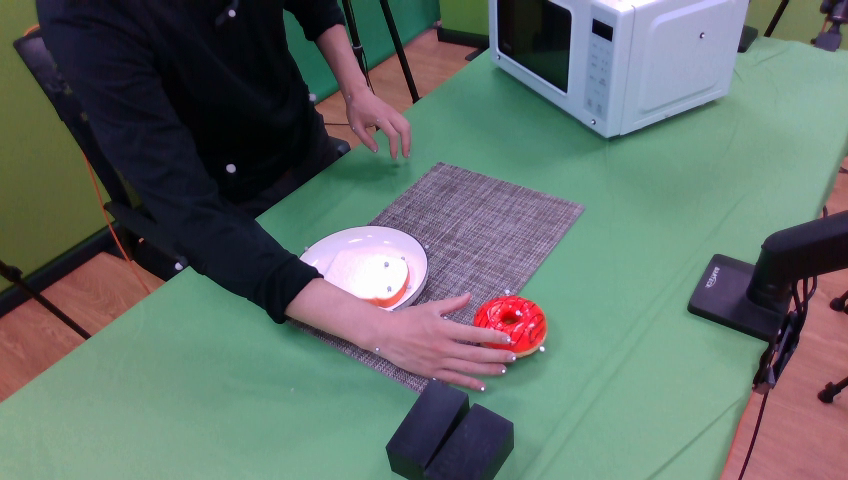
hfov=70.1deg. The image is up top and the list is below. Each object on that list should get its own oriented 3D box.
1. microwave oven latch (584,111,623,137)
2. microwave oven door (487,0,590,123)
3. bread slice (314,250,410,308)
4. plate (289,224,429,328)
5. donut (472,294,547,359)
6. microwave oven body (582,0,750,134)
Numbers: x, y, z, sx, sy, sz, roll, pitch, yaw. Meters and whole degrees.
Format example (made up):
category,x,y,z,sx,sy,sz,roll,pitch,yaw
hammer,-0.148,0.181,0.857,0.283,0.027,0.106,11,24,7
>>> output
category,x,y,z,sx,sy,sz,roll,pitch,yaw
microwave oven latch,0.337,-0.222,1.142,0.030,0.029,0.078,-21,42,-14
microwave oven door,0.232,-0.420,1.231,0.039,0.245,0.352,-22,43,-16
bread slice,-0.087,0.056,0.900,0.131,0.019,0.104,5,43,14
plate,-0.094,0.055,0.902,0.207,0.039,0.206,-4,41,4
donut,0.114,0.114,0.803,0.099,0.048,0.098,0,39,1
microwave oven body,0.382,-0.445,1.246,0.327,0.261,0.437,-22,42,-16
